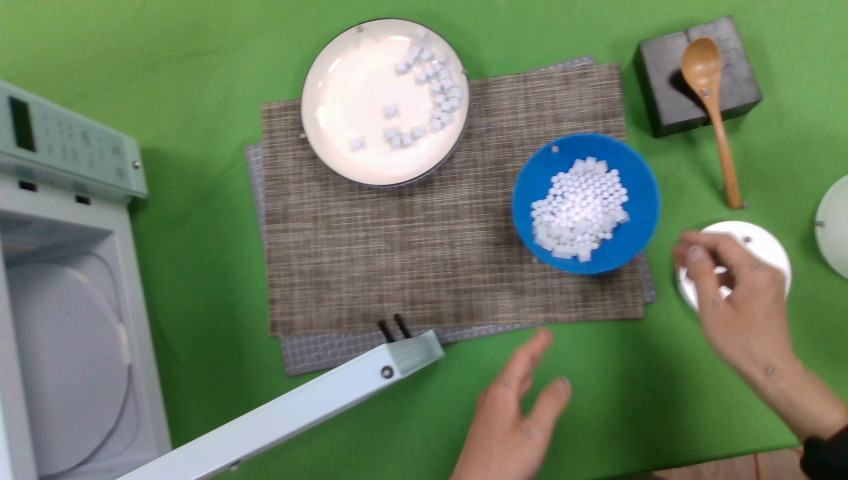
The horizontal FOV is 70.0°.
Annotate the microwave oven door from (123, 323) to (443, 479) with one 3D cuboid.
[{"bbox_3d":[-0.160,0.182,0.606,0.356,0.245,0.039,-28,80,6],"label":"microwave oven door"}]

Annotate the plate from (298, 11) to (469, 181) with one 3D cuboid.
[{"bbox_3d":[-0.047,-0.171,0.734,0.209,0.038,0.208,-1,84,9],"label":"plate"}]

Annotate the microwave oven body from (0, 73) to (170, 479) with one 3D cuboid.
[{"bbox_3d":[-0.498,0.094,0.673,0.326,0.261,0.440,-15,83,7],"label":"microwave oven body"}]

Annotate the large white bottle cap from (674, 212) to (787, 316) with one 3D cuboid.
[{"bbox_3d":[0.337,0.026,0.669,0.114,0.018,0.114,-1,85,8],"label":"large white bottle cap"}]

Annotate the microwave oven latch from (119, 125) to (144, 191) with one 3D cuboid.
[{"bbox_3d":[-0.380,-0.104,0.769,0.030,0.029,0.079,-14,84,7],"label":"microwave oven latch"}]

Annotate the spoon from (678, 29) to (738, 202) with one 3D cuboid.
[{"bbox_3d":[0.311,-0.129,0.649,0.041,0.021,0.194,-20,104,5],"label":"spoon"}]

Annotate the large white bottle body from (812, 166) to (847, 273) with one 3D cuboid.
[{"bbox_3d":[0.471,-0.030,0.567,0.130,0.185,0.130,-1,84,10],"label":"large white bottle body"}]

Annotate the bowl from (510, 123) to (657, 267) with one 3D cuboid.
[{"bbox_3d":[0.171,-0.043,0.667,0.151,0.077,0.151,-1,85,10],"label":"bowl"}]
